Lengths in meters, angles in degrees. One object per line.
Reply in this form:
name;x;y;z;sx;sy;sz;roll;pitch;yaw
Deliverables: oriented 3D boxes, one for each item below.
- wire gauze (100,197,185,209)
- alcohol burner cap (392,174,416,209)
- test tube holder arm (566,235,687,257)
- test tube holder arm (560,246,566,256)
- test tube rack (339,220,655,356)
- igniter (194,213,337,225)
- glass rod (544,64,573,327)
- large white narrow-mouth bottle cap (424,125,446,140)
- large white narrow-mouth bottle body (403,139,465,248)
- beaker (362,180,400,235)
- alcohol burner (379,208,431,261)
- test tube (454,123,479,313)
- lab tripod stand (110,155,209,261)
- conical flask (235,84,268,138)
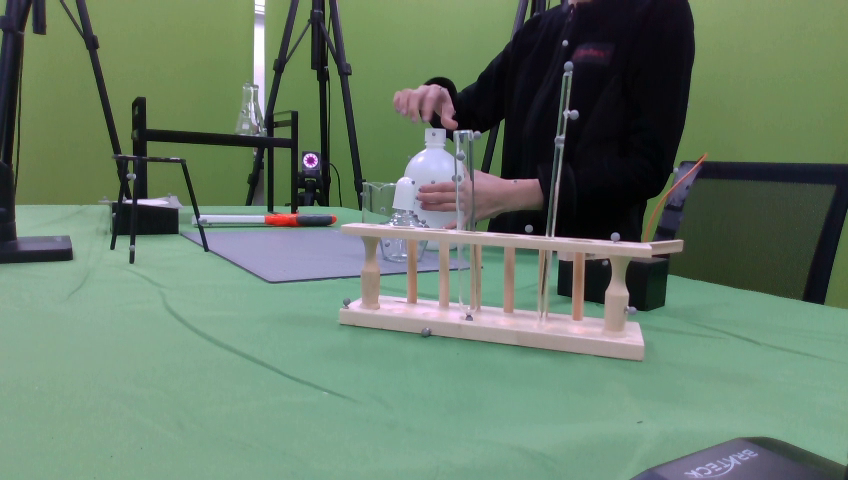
wire gauze;-0.469;-0.062;1.008;0.126;0.011;0.121;-2;8;-25
alcohol burner cap;-0.025;-0.067;0.834;0.034;0.048;0.034;8;7;-1
test tube holder arm;0.215;0.006;0.630;0.179;0.015;0.013;-3;9;-31
test tube holder arm;0.173;0.007;0.612;0.088;0.015;0.010;-3;9;-30
test tube rack;0.056;0.032;0.495;0.242;0.085;0.067;4;7;15
igniter;-0.306;-0.042;1.196;0.278;0.025;0.057;-2;-2;-31
glass rod;0.101;-0.028;0.453;0.008;0.199;0.008;2;14;0
large white narrow-mouth bottle cap;0.018;-0.175;0.989;0.038;0.024;0.037;1;8;0
large white narrow-mouth bottle body;0.018;-0.088;1.001;0.102;0.194;0.102;1;8;0
beaker;-0.081;-0.062;1.142;0.074;0.100;0.084;2;8;1
alcohol burner;-0.027;-0.031;0.838;0.078;0.119;0.078;0;6;0
test tube;0.034;-0.016;0.477;0.017;0.150;0.017;-2;9;1
lab tripod stand;-0.361;-0.046;0.806;0.148;0.131;0.148;2;5;0
conical flask;-0.402;-0.299;1.406;0.075;0.122;0.075;2;7;0
